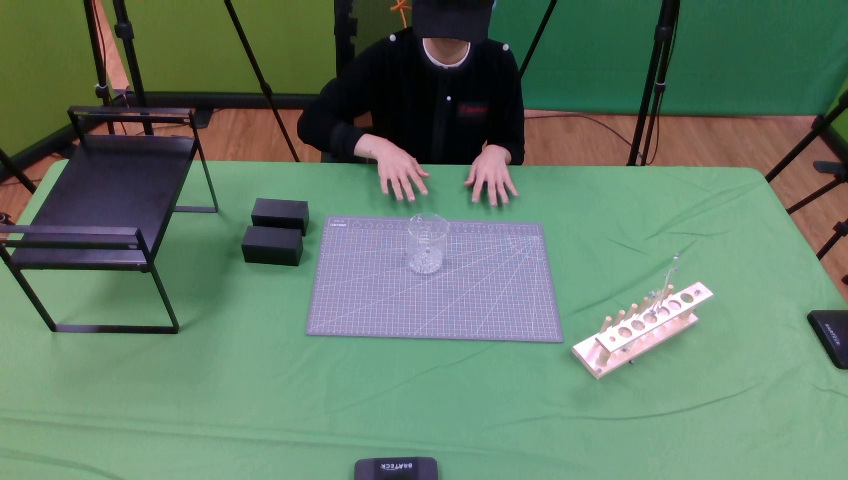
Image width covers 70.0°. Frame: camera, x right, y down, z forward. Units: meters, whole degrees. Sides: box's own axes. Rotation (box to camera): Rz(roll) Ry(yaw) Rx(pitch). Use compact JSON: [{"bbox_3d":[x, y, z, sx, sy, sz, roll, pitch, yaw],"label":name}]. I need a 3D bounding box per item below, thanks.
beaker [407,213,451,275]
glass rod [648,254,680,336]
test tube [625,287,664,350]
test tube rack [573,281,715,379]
[{"bbox_3d":[0.008,0.009,1.129,0.084,0.101,0.073,-11,48,-15],"label":"beaker"},{"bbox_3d":[0.391,0.094,0.991,0.008,0.201,0.008,-2,44,2],"label":"glass rod"},{"bbox_3d":[0.354,0.130,0.977,0.017,0.151,0.017,4,44,-3],"label":"test tube"},{"bbox_3d":[0.378,0.140,1.038,0.242,0.085,0.066,-22,51,-23],"label":"test tube rack"}]
